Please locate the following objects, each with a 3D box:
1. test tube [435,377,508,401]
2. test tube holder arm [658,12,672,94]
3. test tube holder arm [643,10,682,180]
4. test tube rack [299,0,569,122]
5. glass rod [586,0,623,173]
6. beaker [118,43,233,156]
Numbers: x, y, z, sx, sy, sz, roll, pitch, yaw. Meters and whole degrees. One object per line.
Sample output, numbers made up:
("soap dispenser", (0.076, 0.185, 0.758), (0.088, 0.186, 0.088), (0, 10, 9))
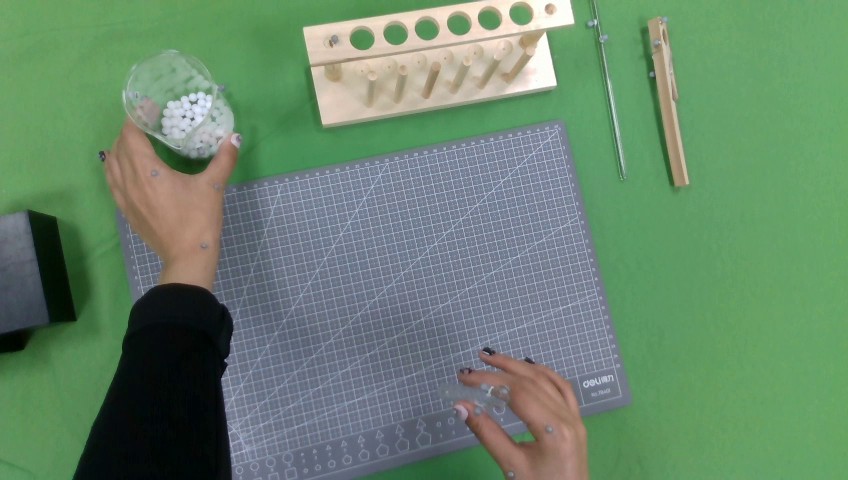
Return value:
("test tube", (0.034, 0.117, 0.482), (0.017, 0.150, 0.017), (3, 77, -13))
("test tube holder arm", (0.250, -0.197, 0.642), (0.010, 0.015, 0.087), (-4, 86, -37))
("test tube holder arm", (0.251, -0.152, 0.636), (0.013, 0.015, 0.178), (-4, 86, -37))
("test tube rack", (0.011, -0.176, 0.579), (0.243, 0.085, 0.066), (-11, 87, -7))
("glass rod", (0.189, -0.168, 0.638), (0.008, 0.008, 0.199), (-8, 87, -7))
("beaker", (-0.214, -0.117, 0.541), (0.074, 0.100, 0.084), (-10, 87, -7))
